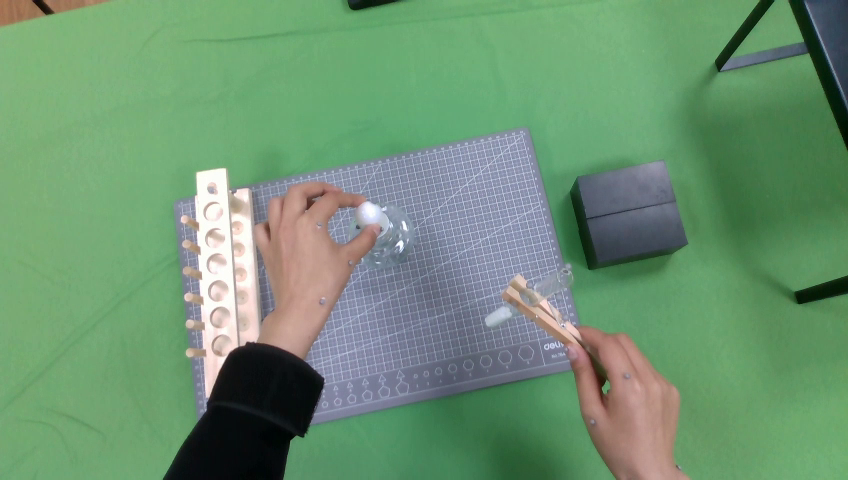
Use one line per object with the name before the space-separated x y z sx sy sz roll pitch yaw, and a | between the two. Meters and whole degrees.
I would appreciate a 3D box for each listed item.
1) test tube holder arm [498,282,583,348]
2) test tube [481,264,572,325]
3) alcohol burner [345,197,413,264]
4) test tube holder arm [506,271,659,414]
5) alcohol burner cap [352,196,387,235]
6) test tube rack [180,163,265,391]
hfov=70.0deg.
test tube holder arm | 0.104 0.067 0.536 0.088 0.015 0.010 35 67 -5
test tube | 0.086 0.052 0.542 0.017 0.150 0.017 8 66 -18
alcohol burner | -0.053 -0.014 0.673 0.078 0.119 0.077 -1 79 4
test tube holder arm | 0.142 0.092 0.540 0.178 0.015 0.013 42 67 -1
alcohol burner cap | -0.059 -0.028 0.624 0.034 0.048 0.033 -2 71 5
test tube rack | -0.234 0.044 0.684 0.067 0.085 0.241 -8 78 1
